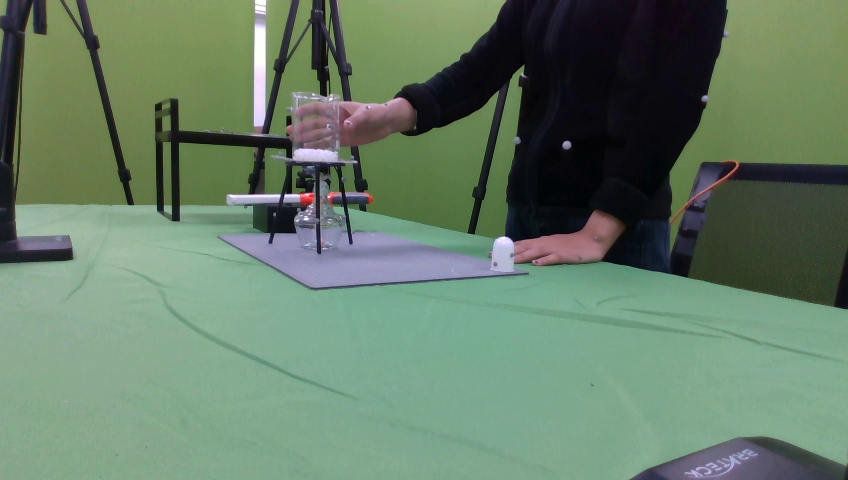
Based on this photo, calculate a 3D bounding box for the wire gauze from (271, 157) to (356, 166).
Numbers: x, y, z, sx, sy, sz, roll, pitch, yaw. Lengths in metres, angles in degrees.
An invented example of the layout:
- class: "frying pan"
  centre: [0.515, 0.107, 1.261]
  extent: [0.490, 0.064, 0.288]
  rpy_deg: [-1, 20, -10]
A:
- class: "wire gauze"
  centre: [-0.166, -0.120, 0.917]
  extent: [0.125, 0.011, 0.121]
  rpy_deg: [-2, 6, -9]

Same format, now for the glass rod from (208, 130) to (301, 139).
- class: "glass rod"
  centre: [-0.366, -0.231, 1.320]
  extent: [0.201, 0.008, 0.008]
  rpy_deg: [-1, 8, -30]

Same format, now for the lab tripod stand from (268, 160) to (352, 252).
- class: "lab tripod stand"
  centre: [-0.171, -0.055, 0.921]
  extent: [0.148, 0.131, 0.148]
  rpy_deg: [1, 9, 0]

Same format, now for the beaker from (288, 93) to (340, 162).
- class: "beaker"
  centre: [-0.162, -0.167, 0.908]
  extent: [0.074, 0.100, 0.083]
  rpy_deg: [-4, 10, -30]

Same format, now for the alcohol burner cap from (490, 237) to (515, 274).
- class: "alcohol burner cap"
  centre: [0.104, 0.020, 0.793]
  extent: [0.034, 0.048, 0.034]
  rpy_deg: [2, 6, 0]

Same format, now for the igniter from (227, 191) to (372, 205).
- class: "igniter"
  centre: [-0.232, -0.080, 1.161]
  extent: [0.278, 0.025, 0.057]
  rpy_deg: [-3, 12, -28]

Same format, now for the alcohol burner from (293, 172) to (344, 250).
- class: "alcohol burner"
  centre: [-0.159, -0.044, 0.921]
  extent: [0.078, 0.119, 0.078]
  rpy_deg: [5, 7, 0]
